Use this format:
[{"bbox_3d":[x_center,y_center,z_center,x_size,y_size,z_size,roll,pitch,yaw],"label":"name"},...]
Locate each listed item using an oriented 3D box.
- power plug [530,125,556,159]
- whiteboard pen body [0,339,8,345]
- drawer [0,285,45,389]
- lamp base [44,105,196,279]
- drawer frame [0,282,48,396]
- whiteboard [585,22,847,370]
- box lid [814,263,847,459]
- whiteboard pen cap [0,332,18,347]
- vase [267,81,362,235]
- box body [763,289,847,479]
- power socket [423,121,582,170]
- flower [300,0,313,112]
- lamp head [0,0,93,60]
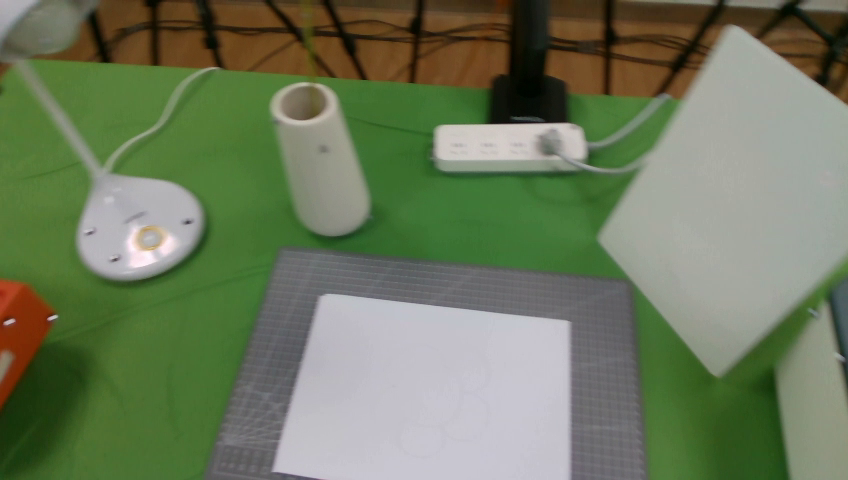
[{"bbox_3d":[0.162,-0.125,0.827,0.035,0.053,0.072,8,57,8],"label":"power plug"},{"bbox_3d":[-0.519,0.112,0.649,0.141,0.017,0.017,-2,54,-2],"label":"whiteboard pen body"},{"bbox_3d":[-0.542,0.126,0.614,0.211,0.074,0.193,9,56,8],"label":"drawer"},{"bbox_3d":[-0.394,-0.068,0.740,0.177,0.182,0.160,33,62,26],"label":"lamp base"},{"bbox_3d":[-0.548,0.128,0.616,0.213,0.083,0.200,9,56,6],"label":"drawer frame"},{"bbox_3d":[0.358,-0.043,0.663,0.144,0.307,0.215,-11,52,-29],"label":"whiteboard"},{"bbox_3d":[0.461,0.184,0.458,0.263,0.015,0.368,7,57,7],"label":"box lid"},{"bbox_3d":[-0.458,0.108,0.651,0.033,0.018,0.018,-5,54,7],"label":"whiteboard pen cap"},{"bbox_3d":[-0.135,-0.095,0.741,0.098,0.202,0.097,-1,54,2],"label":"vase"},{"bbox_3d":[0.463,0.229,0.518,0.254,0.162,0.361,7,55,7],"label":"box body"},{"bbox_3d":[0.112,-0.135,0.864,0.227,0.033,0.071,0,56,1],"label":"power socket"},{"bbox_3d":[-0.129,-0.156,0.683,0.038,0.364,0.043,-4,36,-9],"label":"flower"},{"bbox_3d":[-0.354,-0.227,0.496,0.123,0.112,0.112,46,61,-14],"label":"lamp head"}]
